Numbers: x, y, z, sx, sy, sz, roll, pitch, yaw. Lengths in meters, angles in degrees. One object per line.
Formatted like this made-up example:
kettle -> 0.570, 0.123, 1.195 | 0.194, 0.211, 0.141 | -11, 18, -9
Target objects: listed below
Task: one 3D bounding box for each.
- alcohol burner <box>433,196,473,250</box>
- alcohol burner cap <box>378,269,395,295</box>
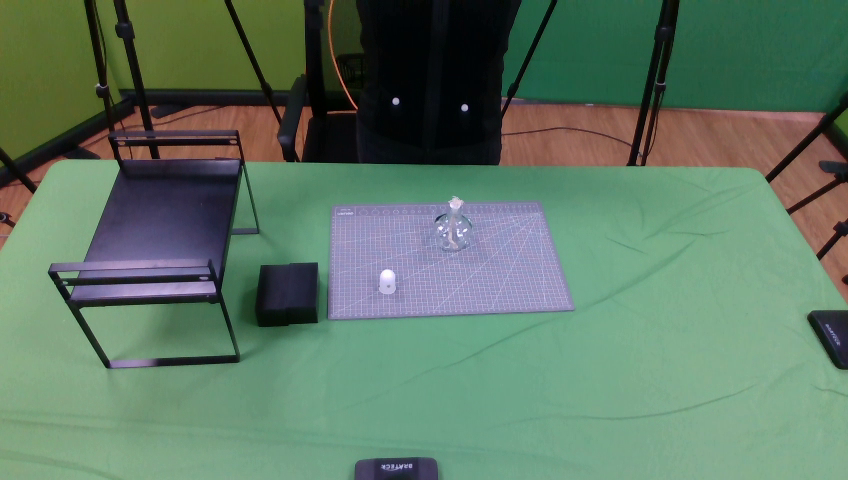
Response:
alcohol burner -> 0.058, -0.038, 1.169 | 0.078, 0.119, 0.077 | 3, 45, -3
alcohol burner cap -> -0.068, 0.073, 1.103 | 0.034, 0.048, 0.033 | 3, 45, -3
